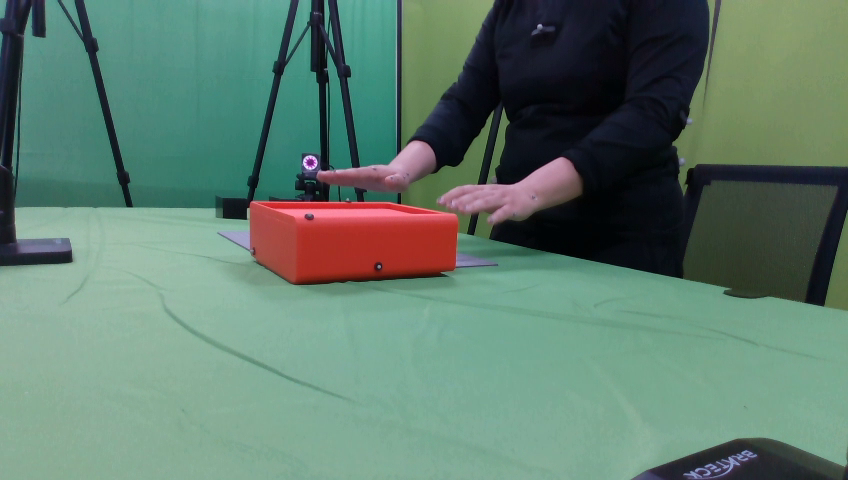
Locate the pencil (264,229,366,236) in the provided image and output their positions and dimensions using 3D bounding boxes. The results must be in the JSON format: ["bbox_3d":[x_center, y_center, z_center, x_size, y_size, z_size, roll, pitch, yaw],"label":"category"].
[{"bbox_3d":[-0.196,-0.013,1.110,0.195,0.012,0.012,1,7,-29],"label":"pencil"}]

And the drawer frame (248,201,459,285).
[{"bbox_3d":[-0.096,-0.005,0.785,0.215,0.082,0.200,-3,10,-31],"label":"drawer frame"}]

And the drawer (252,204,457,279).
[{"bbox_3d":[-0.095,-0.004,0.787,0.213,0.073,0.193,-3,10,-30],"label":"drawer"}]
